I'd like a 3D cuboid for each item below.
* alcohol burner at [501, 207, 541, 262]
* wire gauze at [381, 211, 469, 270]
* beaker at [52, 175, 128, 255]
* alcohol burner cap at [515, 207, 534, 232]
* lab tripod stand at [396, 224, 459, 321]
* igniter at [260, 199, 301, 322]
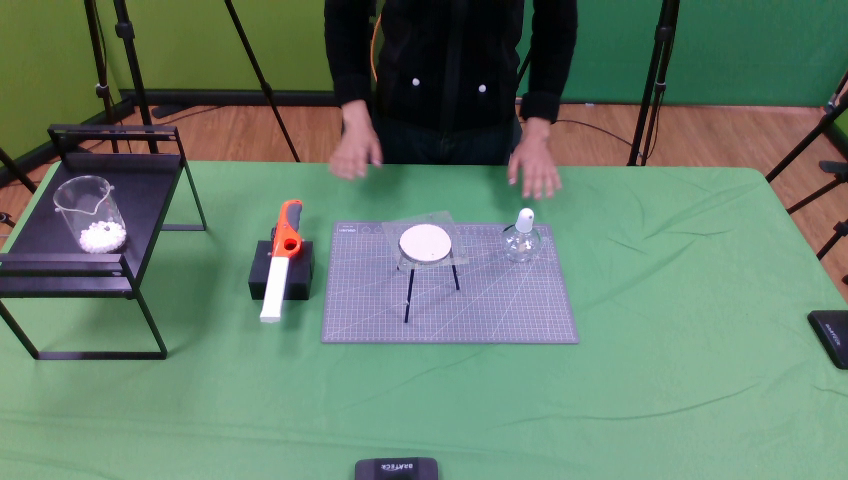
[{"bbox_3d":[0.188,-0.015,1.160,0.078,0.120,0.077,1,44,-1],"label":"alcohol burner"},{"bbox_3d":[0.000,0.001,1.023,0.125,0.011,0.120,-9,48,-13],"label":"wire gauze"},{"bbox_3d":[-0.482,-0.032,0.888,0.074,0.101,0.083,-28,55,-27],"label":"beaker"},{"bbox_3d":[0.190,-0.041,1.135,0.034,0.048,0.033,3,50,-3],"label":"alcohol burner cap"},{"bbox_3d":[-0.003,0.052,1.067,0.148,0.132,0.147,3,48,-3],"label":"lab tripod stand"},{"bbox_3d":[-0.255,0.027,1.084,0.057,0.025,0.274,3,49,-5],"label":"igniter"}]
